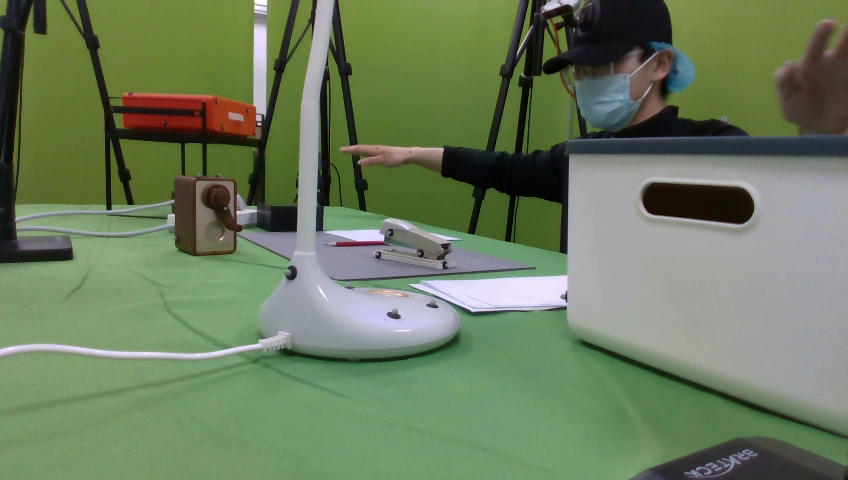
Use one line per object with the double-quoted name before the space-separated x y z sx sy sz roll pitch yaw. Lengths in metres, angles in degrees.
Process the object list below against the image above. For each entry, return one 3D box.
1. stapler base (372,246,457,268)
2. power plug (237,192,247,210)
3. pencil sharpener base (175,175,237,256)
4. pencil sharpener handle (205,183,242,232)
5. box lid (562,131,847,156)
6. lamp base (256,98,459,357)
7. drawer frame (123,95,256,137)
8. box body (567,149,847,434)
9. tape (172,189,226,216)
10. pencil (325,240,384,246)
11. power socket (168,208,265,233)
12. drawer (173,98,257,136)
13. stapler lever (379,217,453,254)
"stapler base" -0.016 0.017 0.831 0.130 0.024 0.041 10 12 39
"power plug" -0.386 -0.071 1.204 0.072 0.052 0.035 7 9 26
"pencil sharpener base" -0.304 -0.036 0.847 0.062 0.107 0.076 -4 10 -42
"pencil sharpener handle" -0.265 -0.043 0.812 0.036 0.068 0.030 -31 27 -35
"box lid" 0.322 -0.064 0.463 0.373 0.015 0.262 -2 9 -31
"lamp base" -0.055 -0.013 0.463 0.160 0.180 0.180 6 11 27
"drawer frame" -0.524 -0.281 1.376 0.213 0.082 0.202 3 8 8
"box body" 0.318 0.009 0.471 0.366 0.160 0.253 -2 8 -31
"tape" -0.515 -0.087 1.388 0.117 0.052 0.117 3 8 0
"pencil" -0.066 0.003 0.979 0.195 0.012 0.012 -3 9 -25
"power socket" -0.381 -0.038 1.129 0.072 0.032 0.227 4 8 17
"drawer" -0.518 -0.279 1.376 0.211 0.073 0.195 3 8 9
"stapler lever" -0.014 -0.007 0.828 0.117 0.040 0.027 9 11 39
